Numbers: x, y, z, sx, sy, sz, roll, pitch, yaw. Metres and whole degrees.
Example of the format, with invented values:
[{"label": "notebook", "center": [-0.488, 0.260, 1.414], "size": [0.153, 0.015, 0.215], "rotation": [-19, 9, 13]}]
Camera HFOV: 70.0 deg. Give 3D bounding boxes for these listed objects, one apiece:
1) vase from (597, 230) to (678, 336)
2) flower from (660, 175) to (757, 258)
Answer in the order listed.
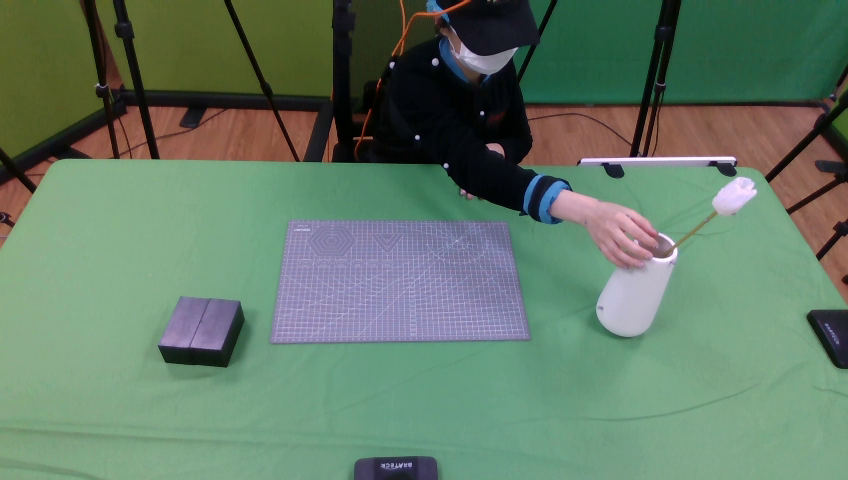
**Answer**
[{"label": "vase", "center": [0.360, 0.077, 1.026], "size": [0.098, 0.201, 0.097], "rotation": [1, 47, -1]}, {"label": "flower", "center": [0.386, 0.024, 0.966], "size": [0.038, 0.363, 0.044], "rotation": [42, 48, 11]}]
